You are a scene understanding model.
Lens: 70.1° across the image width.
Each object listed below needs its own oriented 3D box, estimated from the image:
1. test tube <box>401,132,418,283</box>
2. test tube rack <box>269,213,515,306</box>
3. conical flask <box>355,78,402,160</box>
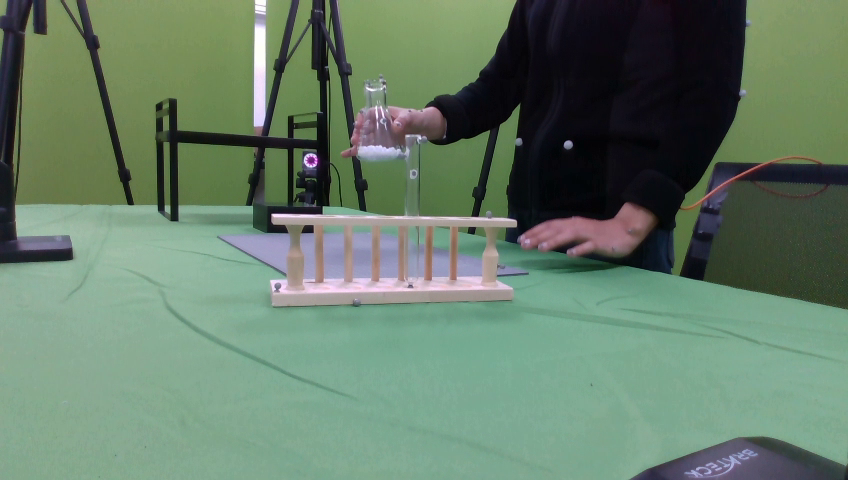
[{"bbox_3d":[-0.014,-0.030,0.596,0.017,0.150,0.017,1,11,0],"label":"test tube"},{"bbox_3d":[-0.032,0.015,0.617,0.243,0.085,0.066,0,7,-17],"label":"test tube rack"},{"bbox_3d":[-0.075,-0.188,0.946,0.075,0.122,0.075,-4,3,1],"label":"conical flask"}]
